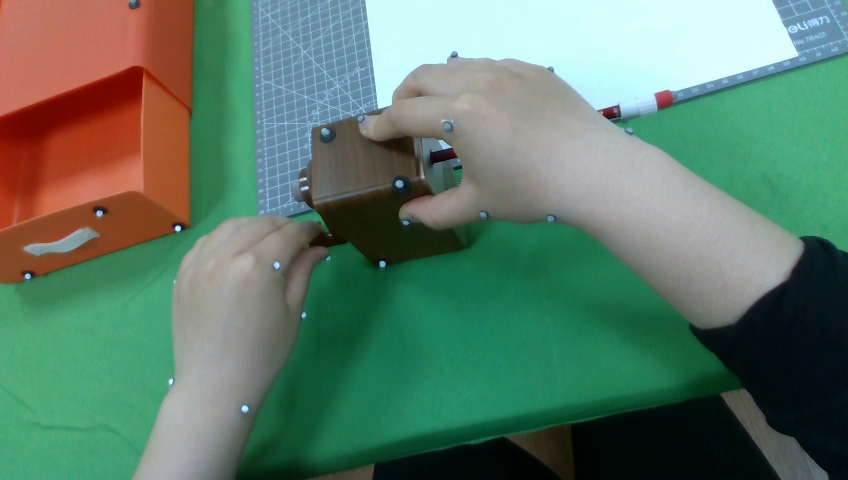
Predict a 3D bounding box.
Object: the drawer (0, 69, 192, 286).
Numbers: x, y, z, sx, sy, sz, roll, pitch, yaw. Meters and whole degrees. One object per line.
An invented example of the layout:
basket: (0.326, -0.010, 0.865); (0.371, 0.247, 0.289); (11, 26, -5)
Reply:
drawer: (-0.307, -0.084, 0.533); (0.194, 0.074, 0.210); (-17, 64, 12)

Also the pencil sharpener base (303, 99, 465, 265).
pencil sharpener base: (-0.023, -0.032, 0.401); (0.076, 0.108, 0.061); (-13, 65, 14)

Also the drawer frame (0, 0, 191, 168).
drawer frame: (-0.328, -0.189, 0.581); (0.201, 0.083, 0.211); (-16, 64, 12)

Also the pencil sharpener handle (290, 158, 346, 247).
pencil sharpener handle: (-0.075, -0.021, 0.399); (0.030, 0.068, 0.035); (-13, 44, 14)

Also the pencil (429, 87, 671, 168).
pencil: (0.046, -0.058, 0.358); (0.194, 0.012, 0.012); (-15, 65, 12)
